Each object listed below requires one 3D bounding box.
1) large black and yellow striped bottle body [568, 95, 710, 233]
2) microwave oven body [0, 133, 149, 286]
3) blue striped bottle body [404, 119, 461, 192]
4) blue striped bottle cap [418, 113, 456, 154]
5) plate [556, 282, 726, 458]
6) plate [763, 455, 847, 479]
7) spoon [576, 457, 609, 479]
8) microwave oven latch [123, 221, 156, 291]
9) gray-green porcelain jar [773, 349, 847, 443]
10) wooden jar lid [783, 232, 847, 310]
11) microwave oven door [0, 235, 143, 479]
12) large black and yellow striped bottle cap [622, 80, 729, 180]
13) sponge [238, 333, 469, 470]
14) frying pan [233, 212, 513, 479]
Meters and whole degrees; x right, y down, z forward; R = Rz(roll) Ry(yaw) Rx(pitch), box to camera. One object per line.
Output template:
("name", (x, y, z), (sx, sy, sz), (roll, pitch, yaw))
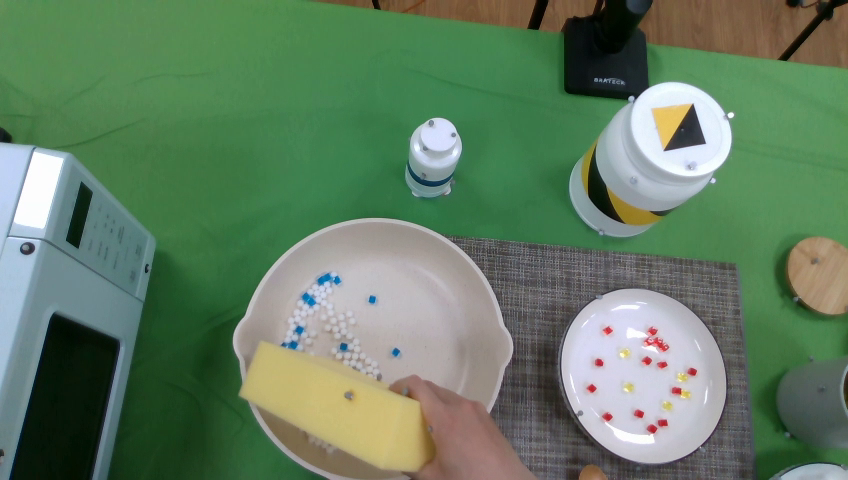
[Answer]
("large black and yellow striped bottle body", (0.265, -0.096, 0.740), (0.131, 0.184, 0.130), (2, 73, -5))
("microwave oven body", (-0.480, 0.142, 0.538), (0.326, 0.261, 0.439), (6, 73, -5))
("blue striped bottle body", (0.010, -0.109, 0.747), (0.063, 0.121, 0.062), (2, 73, -6))
("blue striped bottle cap", (0.015, -0.123, 0.698), (0.044, 0.021, 0.044), (2, 71, -4))
("plate", (0.259, 0.155, 0.737), (0.209, 0.038, 0.208), (2, 74, -5))
("plate", (0.468, 0.359, 0.706), (0.208, 0.039, 0.206), (2, 73, -6))
("spoon", (0.243, 0.327, 0.694), (0.193, 0.022, 0.041), (45, 57, 6))
("microwave oven latch", (-0.330, 0.017, 0.694), (0.030, 0.029, 0.078), (9, 73, -4))
("gray-green porcelain jar", (0.491, 0.185, 0.713), (0.106, 0.127, 0.105), (2, 73, -6))
("wooden jar lid", (0.533, 0.042, 0.816), (0.108, 0.021, 0.108), (2, 75, -6))
("microwave oven door", (-0.339, 0.196, 0.533), (0.039, 0.245, 0.353), (6, 73, -5))
("large black and yellow striped bottle cap", (0.274, -0.121, 0.659), (0.115, 0.019, 0.114), (2, 72, -5))
("sponge", (-0.074, 0.160, 0.609), (0.205, 0.119, 0.060), (12, 77, 39))
("frying pan", (-0.059, 0.208, 0.651), (0.307, 0.103, 0.484), (4, 65, -3))
